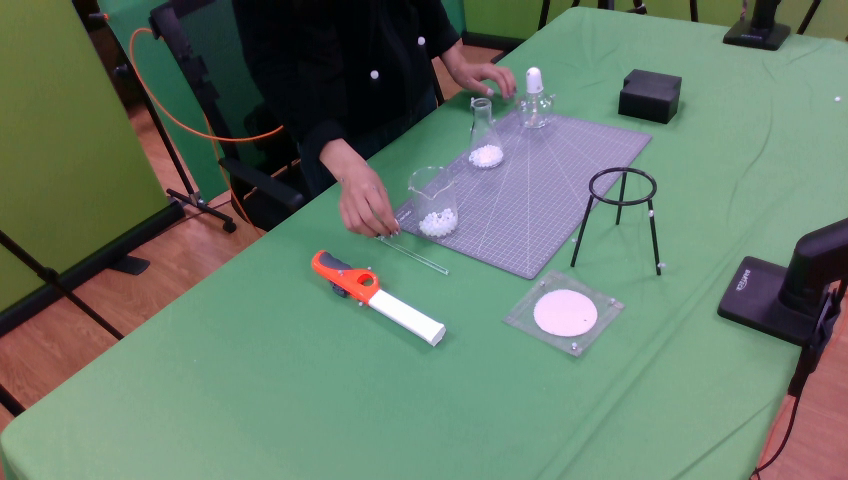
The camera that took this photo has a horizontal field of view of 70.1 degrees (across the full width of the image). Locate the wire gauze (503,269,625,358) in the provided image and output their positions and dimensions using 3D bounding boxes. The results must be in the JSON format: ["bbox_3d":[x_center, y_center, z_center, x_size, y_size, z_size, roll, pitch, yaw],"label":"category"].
[{"bbox_3d":[0.194,0.100,0.840,0.120,0.011,0.125,27,54,36],"label":"wire gauze"}]

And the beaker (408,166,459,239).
[{"bbox_3d":[0.018,-0.058,0.984,0.074,0.101,0.083,-6,41,5],"label":"beaker"}]

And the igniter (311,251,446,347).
[{"bbox_3d":[-0.078,0.081,0.899,0.274,0.025,0.057,27,62,36],"label":"igniter"}]

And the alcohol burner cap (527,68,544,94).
[{"bbox_3d":[0.216,-0.312,1.179,0.034,0.048,0.033,-9,40,9],"label":"alcohol burner cap"}]

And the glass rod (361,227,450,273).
[{"bbox_3d":[-0.034,0.014,0.984,0.198,0.008,0.008,25,52,35],"label":"glass rod"}]

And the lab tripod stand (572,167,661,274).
[{"bbox_3d":[0.283,-0.030,0.879,0.148,0.132,0.147,-7,38,6],"label":"lab tripod stand"}]

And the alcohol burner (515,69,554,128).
[{"bbox_3d":[0.221,-0.285,1.203,0.078,0.119,0.077,-4,39,4],"label":"alcohol burner"}]

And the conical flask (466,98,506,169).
[{"bbox_3d":[0.111,-0.199,1.116,0.075,0.122,0.075,-5,40,5],"label":"conical flask"}]
